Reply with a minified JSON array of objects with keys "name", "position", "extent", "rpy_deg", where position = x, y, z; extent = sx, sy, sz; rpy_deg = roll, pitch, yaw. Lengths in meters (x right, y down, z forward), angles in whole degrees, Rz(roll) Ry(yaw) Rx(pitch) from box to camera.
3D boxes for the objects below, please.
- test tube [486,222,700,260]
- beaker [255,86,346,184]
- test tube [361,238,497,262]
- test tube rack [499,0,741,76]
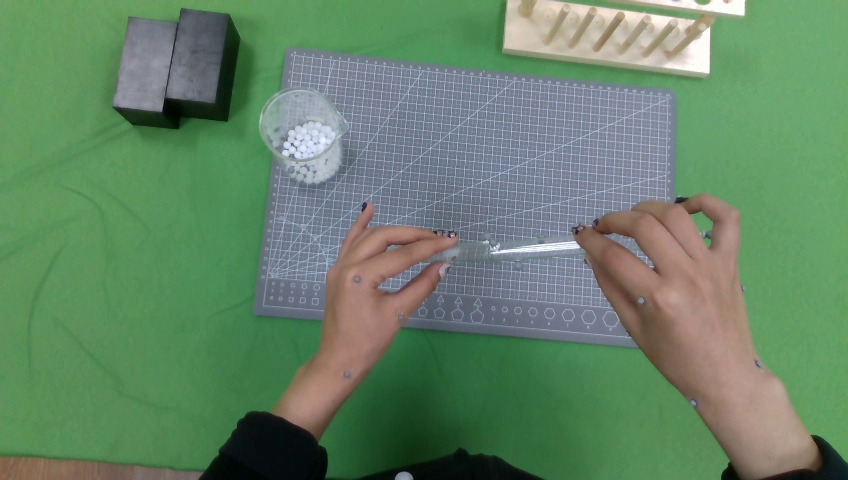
[{"name":"test tube","position":[0.119,0.001,0.439],"extent":[0.150,0.017,0.017],"rpy_deg":[-6,80,20]},{"name":"beaker","position":[-0.120,-0.101,0.616],"extent":[0.084,0.100,0.073],"rpy_deg":[-2,81,-5]},{"name":"test tube","position":[-0.002,0.010,0.516],"extent":[0.017,0.149,0.017],"rpy_deg":[3,86,-47]},{"name":"test tube rack","position":[0.213,-0.245,0.675],"extent":[0.242,0.085,0.066],"rpy_deg":[6,80,-3]}]
